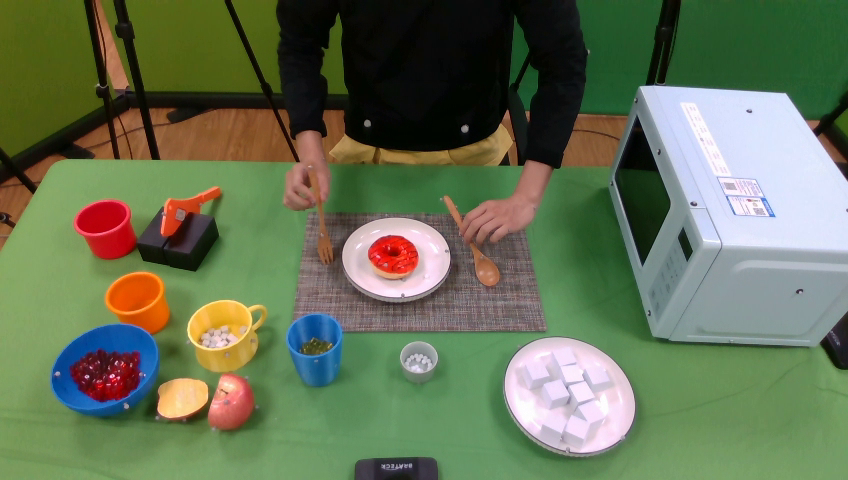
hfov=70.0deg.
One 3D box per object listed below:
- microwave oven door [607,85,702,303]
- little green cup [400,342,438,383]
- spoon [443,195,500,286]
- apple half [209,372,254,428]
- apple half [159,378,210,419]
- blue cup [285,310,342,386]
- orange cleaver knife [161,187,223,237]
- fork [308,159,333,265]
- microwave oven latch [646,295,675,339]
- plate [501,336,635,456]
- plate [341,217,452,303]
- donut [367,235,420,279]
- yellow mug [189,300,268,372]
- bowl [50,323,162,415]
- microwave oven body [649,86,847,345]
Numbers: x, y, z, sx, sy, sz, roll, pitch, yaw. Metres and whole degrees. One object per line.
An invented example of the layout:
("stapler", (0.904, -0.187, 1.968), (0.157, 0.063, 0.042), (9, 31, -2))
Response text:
("microwave oven door", (0.423, -0.094, 1.141), (0.039, 0.245, 0.353), (2, 46, -1))
("little green cup", (-0.010, 0.202, 0.991), (0.061, 0.039, 0.061), (2, 46, -2))
("spoon", (0.087, -0.002, 1.140), (0.041, 0.021, 0.193), (-29, 89, 13))
("apple half", (-0.282, 0.243, 0.908), (0.053, 0.075, 0.080), (8, 42, -2))
("apple half", (-0.366, 0.247, 0.926), (0.081, 0.033, 0.081), (8, 31, -5))
("blue cup", (-0.170, 0.179, 0.958), (0.093, 0.101, 0.092), (2, 44, -2))
("orange cleaver knife", (-0.448, -0.058, 1.181), (0.012, 0.077, 0.211), (13, 17, 6))
("fork", (-0.191, -0.048, 1.106), (0.028, 0.208, 0.018), (-19, 33, -26))
("microwave oven latch", (0.412, 0.134, 1.061), (0.030, 0.029, 0.078), (4, 45, 1))
("plate", (0.225, 0.248, 0.963), (0.208, 0.039, 0.206), (2, 46, -2))
("plate", (-0.052, 0.039, 1.140), (0.209, 0.038, 0.208), (2, 46, -2))
("donut", (-0.056, 0.032, 1.131), (0.099, 0.048, 0.098), (3, 45, -3))
("yellow mug", (-0.316, 0.148, 1.002), (0.131, 0.064, 0.099), (-32, 55, -31))
("bowl", (-0.472, 0.209, 0.924), (0.151, 0.077, 0.150), (3, 45, -2))
("microwave oven body", (0.568, -0.053, 1.118), (0.326, 0.261, 0.439), (2, 45, -1))
